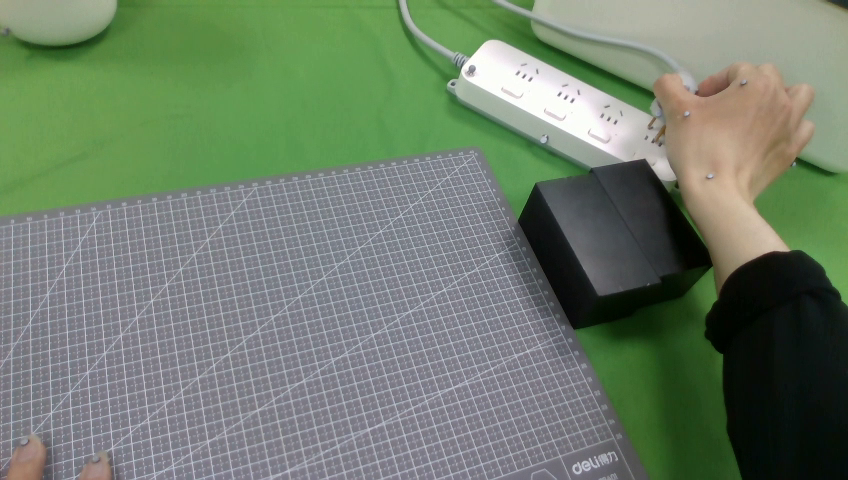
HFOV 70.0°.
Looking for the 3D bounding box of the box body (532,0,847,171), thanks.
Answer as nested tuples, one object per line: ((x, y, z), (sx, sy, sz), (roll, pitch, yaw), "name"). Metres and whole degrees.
((0.315, -0.255, 0.594), (0.363, 0.161, 0.253), (27, 55, 8), "box body")

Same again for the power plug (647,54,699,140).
((0.214, -0.120, 0.519), (0.035, 0.053, 0.072), (31, 44, 2), "power plug")

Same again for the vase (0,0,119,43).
((-0.297, -0.250, 0.447), (0.098, 0.201, 0.097), (6, 54, -8), "vase")

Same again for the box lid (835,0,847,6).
((0.328, -0.295, 0.534), (0.370, 0.015, 0.262), (27, 56, 8), "box lid")

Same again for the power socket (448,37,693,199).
((0.132, -0.112, 0.539), (0.226, 0.033, 0.072), (30, 56, 10), "power socket")
